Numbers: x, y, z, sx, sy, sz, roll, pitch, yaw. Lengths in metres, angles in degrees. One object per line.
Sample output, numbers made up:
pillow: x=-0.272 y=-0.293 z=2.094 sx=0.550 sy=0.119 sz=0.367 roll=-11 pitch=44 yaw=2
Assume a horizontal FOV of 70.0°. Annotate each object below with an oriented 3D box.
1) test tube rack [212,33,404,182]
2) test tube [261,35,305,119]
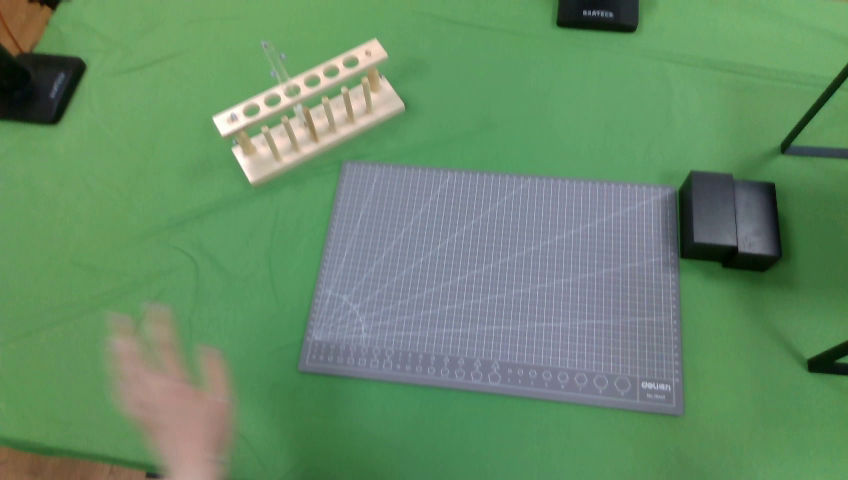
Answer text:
test tube rack: x=-0.152 y=-0.180 z=0.827 sx=0.242 sy=0.086 sz=0.066 roll=-29 pitch=68 yaw=-9
test tube: x=-0.179 y=-0.206 z=0.786 sx=0.017 sy=0.151 sz=0.017 roll=-3 pitch=64 yaw=6
